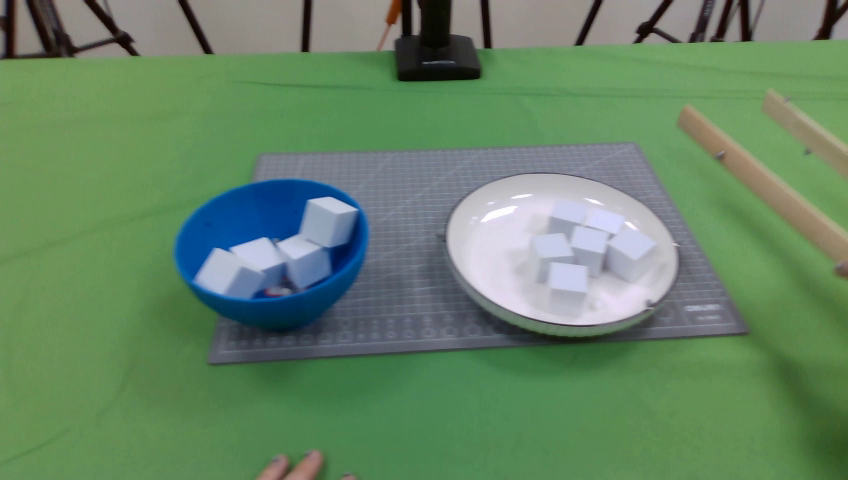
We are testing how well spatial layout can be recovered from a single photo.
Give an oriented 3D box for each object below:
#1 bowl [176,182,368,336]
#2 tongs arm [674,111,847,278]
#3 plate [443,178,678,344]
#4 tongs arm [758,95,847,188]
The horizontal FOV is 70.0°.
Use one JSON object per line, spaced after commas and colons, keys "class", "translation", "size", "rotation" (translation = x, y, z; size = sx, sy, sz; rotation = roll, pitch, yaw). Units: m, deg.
{"class": "bowl", "translation": [-0.120, 0.026, 0.506], "size": [0.151, 0.077, 0.150], "rotation": [1, 41, -1]}
{"class": "tongs arm", "translation": [0.328, 0.001, 0.480], "size": [0.028, 0.028, 0.383], "rotation": [-12, 44, -19]}
{"class": "plate", "translation": [0.120, 0.018, 0.554], "size": [0.208, 0.039, 0.205], "rotation": [1, 41, -1]}
{"class": "tongs arm", "translation": [0.382, -0.011, 0.492], "size": [0.051, 0.027, 0.380], "rotation": [-10, 44, -13]}
